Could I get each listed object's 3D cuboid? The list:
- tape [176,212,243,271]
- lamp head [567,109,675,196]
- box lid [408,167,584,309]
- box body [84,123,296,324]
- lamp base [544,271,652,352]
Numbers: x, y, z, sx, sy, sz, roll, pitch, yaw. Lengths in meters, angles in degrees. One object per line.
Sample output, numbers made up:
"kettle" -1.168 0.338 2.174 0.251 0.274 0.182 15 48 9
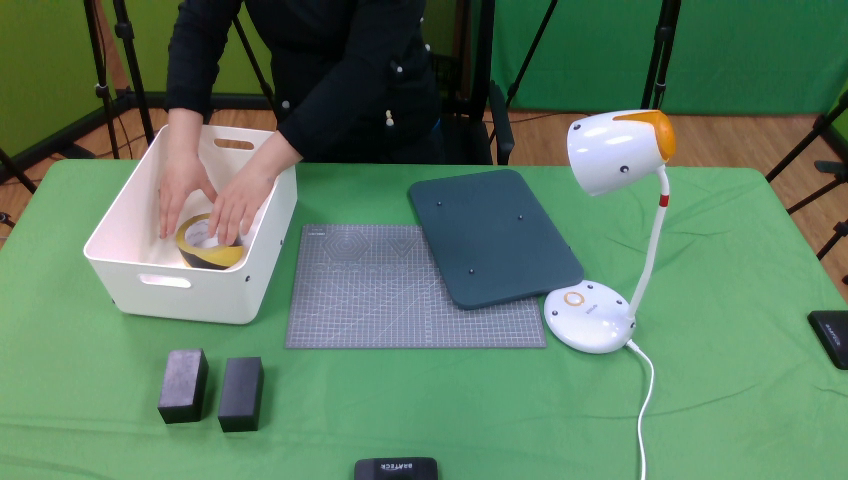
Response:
"tape" -0.400 0.005 1.133 0.117 0.053 0.116 2 46 -2
"lamp head" 0.272 -0.123 0.818 0.122 0.113 0.112 -9 35 37
"box lid" 0.133 -0.018 1.224 0.263 0.015 0.369 -11 45 -12
"box body" -0.393 -0.035 1.104 0.254 0.161 0.362 5 46 1
"lamp base" 0.310 0.086 1.029 0.178 0.181 0.160 32 52 21
